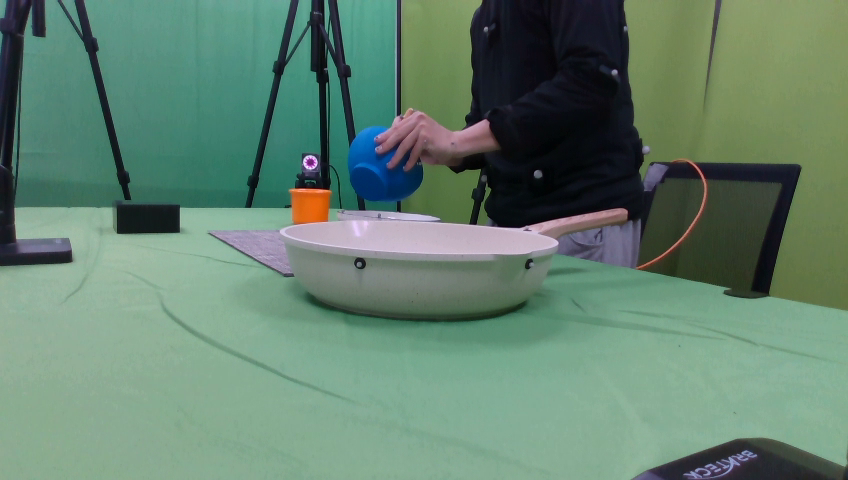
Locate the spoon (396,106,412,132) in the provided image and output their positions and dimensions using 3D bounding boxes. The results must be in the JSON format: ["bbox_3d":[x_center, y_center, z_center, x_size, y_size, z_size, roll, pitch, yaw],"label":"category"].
[{"bbox_3d":[-0.063,-0.186,1.137,0.041,0.022,0.194,9,51,24],"label":"spoon"}]

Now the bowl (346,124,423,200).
[{"bbox_3d":[-0.085,-0.125,1.094,0.151,0.151,0.077,6,40,27],"label":"bowl"}]

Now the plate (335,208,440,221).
[{"bbox_3d":[-0.073,-0.035,1.196,0.208,0.039,0.207,5,6,0],"label":"plate"}]

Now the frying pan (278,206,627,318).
[{"bbox_3d":[0.079,0.002,0.705,0.490,0.102,0.305,-12,15,-33],"label":"frying pan"}]
